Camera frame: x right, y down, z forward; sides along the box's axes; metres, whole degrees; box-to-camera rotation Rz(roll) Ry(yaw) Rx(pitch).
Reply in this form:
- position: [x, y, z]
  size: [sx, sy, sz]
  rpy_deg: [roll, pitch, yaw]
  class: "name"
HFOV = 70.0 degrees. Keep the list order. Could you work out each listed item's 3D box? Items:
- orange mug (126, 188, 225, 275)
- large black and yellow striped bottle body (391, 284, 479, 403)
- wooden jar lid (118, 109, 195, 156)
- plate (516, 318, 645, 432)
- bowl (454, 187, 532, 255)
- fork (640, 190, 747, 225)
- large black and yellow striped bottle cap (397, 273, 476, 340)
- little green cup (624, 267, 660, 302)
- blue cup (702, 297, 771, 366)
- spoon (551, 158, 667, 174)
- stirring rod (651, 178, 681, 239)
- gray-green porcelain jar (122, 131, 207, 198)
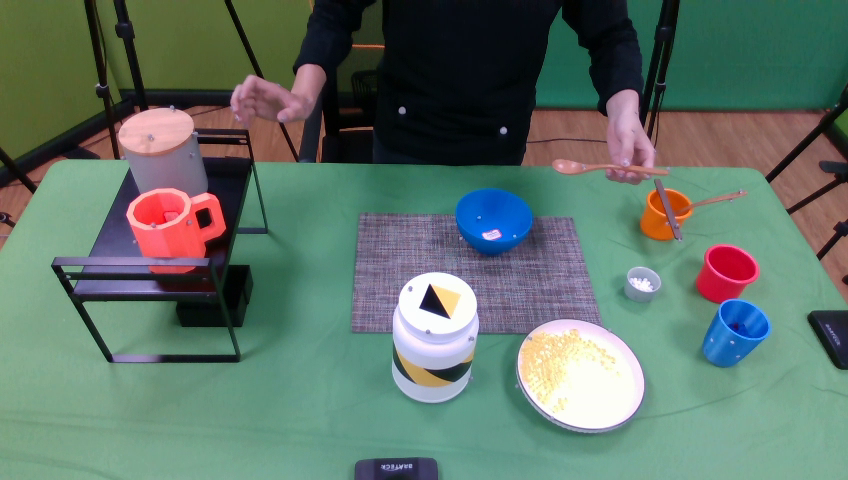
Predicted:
- position: [-0.357, -0.020, 0.885]
  size: [0.126, 0.101, 0.083]
  rpy_deg: [-29, 54, -23]
  class: "orange mug"
- position: [0.015, 0.153, 0.938]
  size: [0.131, 0.185, 0.130]
  rpy_deg: [2, 46, -2]
  class: "large black and yellow striped bottle body"
- position: [-0.400, -0.159, 0.910]
  size: [0.108, 0.021, 0.107]
  rpy_deg: [2, 47, -2]
  class: "wooden jar lid"
- position: [0.253, 0.221, 0.993]
  size: [0.209, 0.038, 0.208]
  rpy_deg: [2, 46, -2]
  class: "plate"
- position: [0.131, -0.025, 1.187]
  size: [0.151, 0.077, 0.150]
  rpy_deg: [3, 46, -2]
  class: "bowl"
- position: [0.533, -0.064, 1.211]
  size: [0.207, 0.019, 0.028]
  rpy_deg: [-22, 28, 38]
  class: "fork"
- position: [0.018, 0.094, 0.878]
  size: [0.115, 0.019, 0.114]
  rpy_deg: [3, 46, -3]
  class: "large black and yellow striped bottle cap"
- position: [0.406, 0.084, 1.135]
  size: [0.061, 0.039, 0.061]
  rpy_deg: [3, 45, -3]
  class: "little green cup"
- position: [0.519, 0.162, 1.025]
  size: [0.093, 0.101, 0.092]
  rpy_deg: [3, 45, -3]
  class: "blue cup"
- position: [0.303, -0.122, 1.009]
  size: [0.193, 0.022, 0.041]
  rpy_deg: [7, 36, 37]
  class: "spoon"
- position: [0.479, -0.065, 1.204]
  size: [0.014, 0.006, 0.175]
  rpy_deg: [3, 46, -4]
  class: "stirring rod"
- position: [-0.404, -0.115, 0.955]
  size: [0.106, 0.127, 0.105]
  rpy_deg: [3, 46, -3]
  class: "gray-green porcelain jar"
